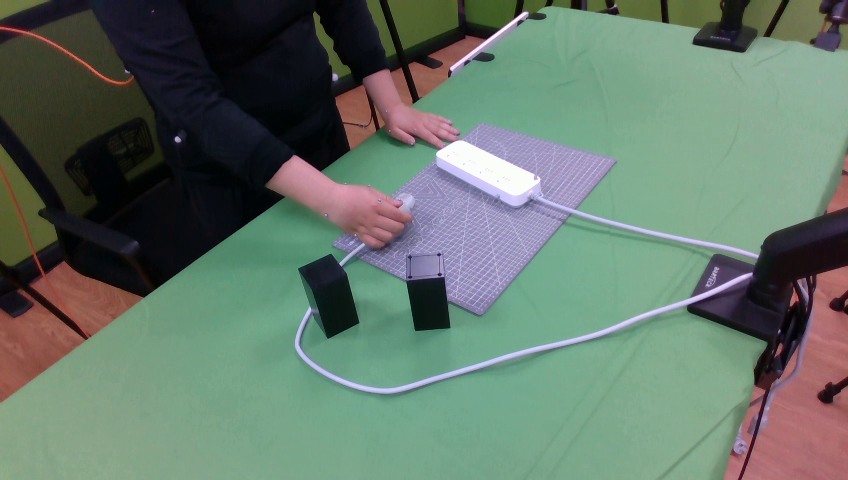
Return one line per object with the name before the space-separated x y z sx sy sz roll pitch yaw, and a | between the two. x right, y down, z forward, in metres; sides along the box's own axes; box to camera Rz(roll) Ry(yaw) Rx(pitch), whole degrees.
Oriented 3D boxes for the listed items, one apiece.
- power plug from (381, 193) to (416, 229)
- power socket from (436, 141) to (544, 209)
power plug | -0.047 -0.051 0.988 0.073 0.035 0.052 -24 19 -12
power socket | 0.112 -0.120 1.082 0.072 0.033 0.224 -34 47 -27
